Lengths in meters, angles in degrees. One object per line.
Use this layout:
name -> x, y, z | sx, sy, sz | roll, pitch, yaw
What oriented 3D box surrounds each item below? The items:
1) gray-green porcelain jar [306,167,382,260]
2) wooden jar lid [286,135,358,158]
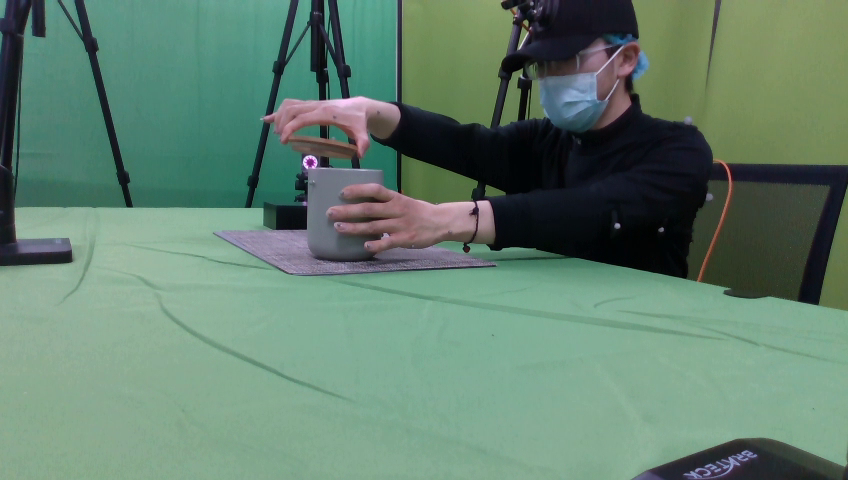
gray-green porcelain jar -> -0.112, -0.039, 0.850 | 0.106, 0.126, 0.106 | 1, 7, 0
wooden jar lid -> -0.156, -0.141, 0.920 | 0.108, 0.020, 0.108 | 7, 1, 0
